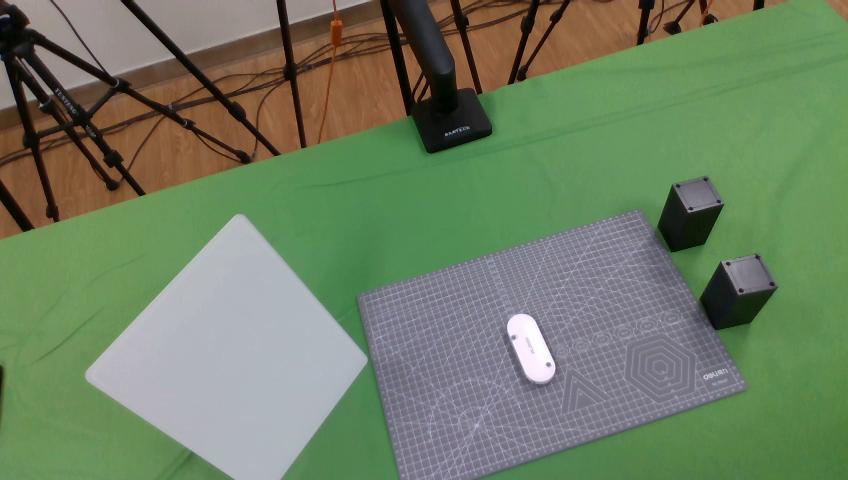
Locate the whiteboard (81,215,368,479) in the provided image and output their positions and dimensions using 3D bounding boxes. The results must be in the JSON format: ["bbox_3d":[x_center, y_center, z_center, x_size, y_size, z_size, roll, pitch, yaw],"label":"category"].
[{"bbox_3d":[-0.246,0.134,0.741,0.142,0.309,0.216,17,60,40],"label":"whiteboard"}]

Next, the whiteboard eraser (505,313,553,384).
[{"bbox_3d":[0.140,0.144,0.813,0.041,0.019,0.100,-19,58,-4],"label":"whiteboard eraser"}]
